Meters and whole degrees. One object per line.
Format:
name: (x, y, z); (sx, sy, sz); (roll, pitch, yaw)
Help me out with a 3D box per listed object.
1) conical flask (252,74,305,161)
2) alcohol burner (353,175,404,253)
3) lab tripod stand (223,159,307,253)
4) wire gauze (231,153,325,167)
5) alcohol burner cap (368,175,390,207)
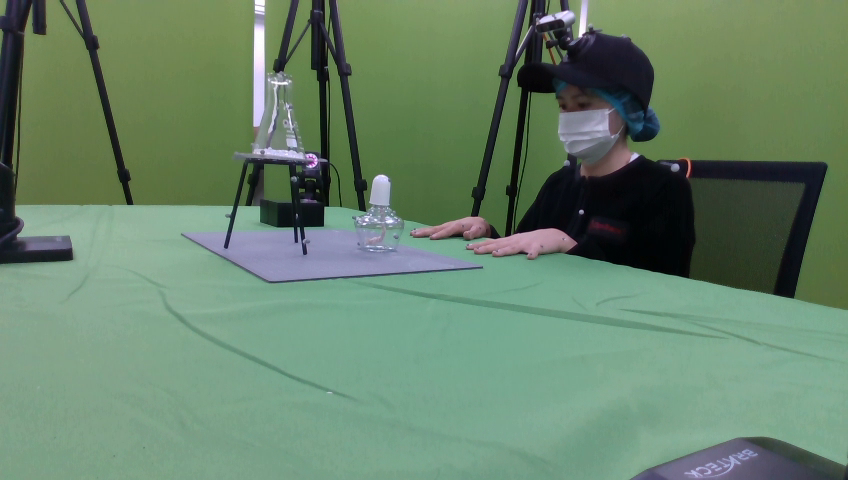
conical flask: (-0.211, -0.177, 0.879); (0.075, 0.122, 0.075); (3, 6, 0)
alcohol burner: (-0.069, -0.040, 0.927); (0.078, 0.119, 0.078); (1, 9, 0)
lab tripod stand: (-0.220, -0.053, 0.896); (0.148, 0.131, 0.148); (1, 6, 0)
wire gauze: (-0.215, -0.117, 0.882); (0.125, 0.011, 0.121); (3, 7, -19)
alcohol burner cap: (-0.067, -0.075, 0.923); (0.034, 0.048, 0.034); (8, 11, -1)
